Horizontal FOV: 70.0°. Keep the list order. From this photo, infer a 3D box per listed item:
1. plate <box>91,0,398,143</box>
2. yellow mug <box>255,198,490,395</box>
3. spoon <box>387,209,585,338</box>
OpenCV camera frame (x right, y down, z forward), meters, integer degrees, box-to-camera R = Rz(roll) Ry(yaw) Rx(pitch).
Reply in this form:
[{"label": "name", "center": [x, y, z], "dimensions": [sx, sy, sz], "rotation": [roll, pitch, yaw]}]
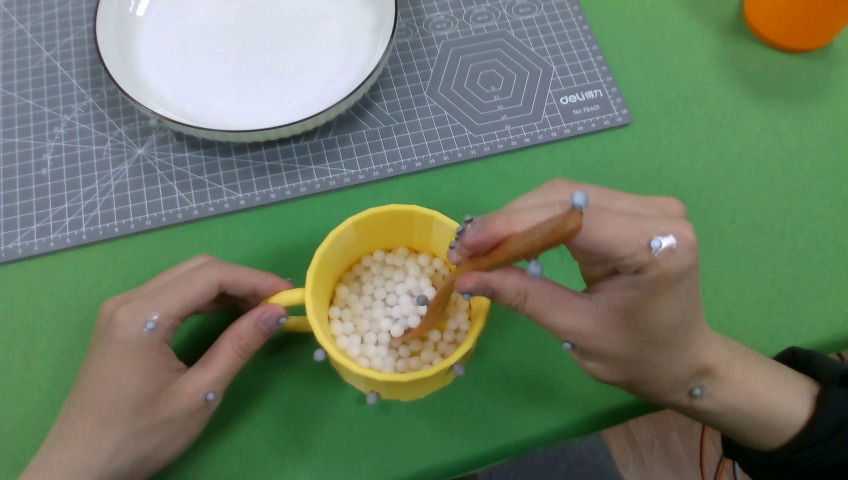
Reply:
[{"label": "plate", "center": [-0.122, -0.155, 0.433], "dimensions": [0.208, 0.039, 0.206], "rotation": [1, 68, -2]}, {"label": "yellow mug", "center": [-0.030, 0.036, 0.347], "dimensions": [0.131, 0.064, 0.099], "rotation": [-5, 68, -3]}, {"label": "spoon", "center": [0.017, 0.019, 0.288], "dimensions": [0.022, 0.194, 0.041], "rotation": [33, 67, -6]}]
